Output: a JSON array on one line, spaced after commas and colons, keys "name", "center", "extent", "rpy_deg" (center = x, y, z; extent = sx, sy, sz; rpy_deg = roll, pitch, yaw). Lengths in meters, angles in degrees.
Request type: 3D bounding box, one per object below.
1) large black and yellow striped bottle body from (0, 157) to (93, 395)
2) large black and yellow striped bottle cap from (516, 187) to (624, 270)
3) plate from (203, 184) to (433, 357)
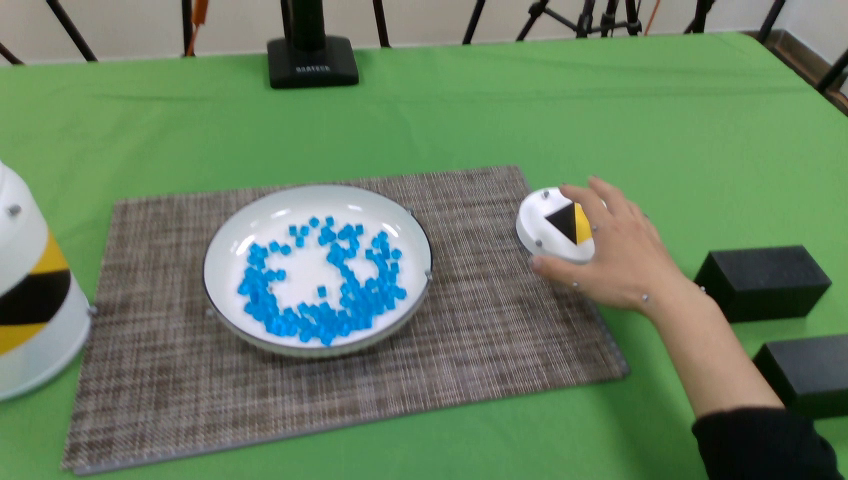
[{"name": "large black and yellow striped bottle body", "center": [-0.346, 0.018, 0.453], "extent": [0.131, 0.185, 0.129], "rpy_deg": [3, 45, -2]}, {"name": "large black and yellow striped bottle cap", "center": [0.156, -0.015, 0.648], "extent": [0.115, 0.019, 0.114], "rpy_deg": [6, 45, -5]}, {"name": "plate", "center": [-0.095, 0.027, 0.567], "extent": [0.208, 0.039, 0.205], "rpy_deg": [3, 45, -2]}]
